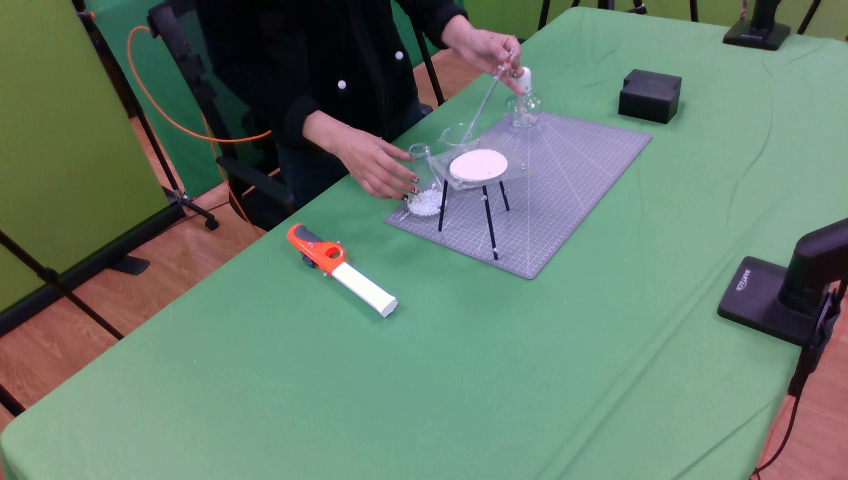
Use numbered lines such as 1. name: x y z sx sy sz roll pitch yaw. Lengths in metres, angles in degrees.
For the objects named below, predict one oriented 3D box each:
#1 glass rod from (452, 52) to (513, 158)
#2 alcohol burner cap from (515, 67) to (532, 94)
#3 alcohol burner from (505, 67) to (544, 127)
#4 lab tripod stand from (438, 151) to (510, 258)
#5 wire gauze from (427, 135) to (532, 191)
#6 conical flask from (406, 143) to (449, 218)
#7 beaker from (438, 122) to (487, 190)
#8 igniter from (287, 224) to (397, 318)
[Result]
1. glass rod: 0.098 -0.229 1.031 0.008 0.199 0.008 28 15 -8
2. alcohol burner cap: 0.197 -0.315 1.187 0.034 0.048 0.033 -3 46 3
3. alcohol burner: 0.201 -0.288 1.211 0.078 0.119 0.077 -6 38 5
4. lab tripod stand: 0.087 -0.064 0.952 0.148 0.132 0.147 -6 38 5
5. wire gauze: 0.081 -0.115 0.909 0.125 0.011 0.120 -18 39 -11
6. conical flask: -0.001 -0.104 1.024 0.075 0.122 0.075 -6 40 5
7. beaker: 0.072 -0.147 1.080 0.084 0.101 0.073 -5 40 7
8. igniter: -0.139 0.042 0.958 0.057 0.025 0.274 -42 49 -19
